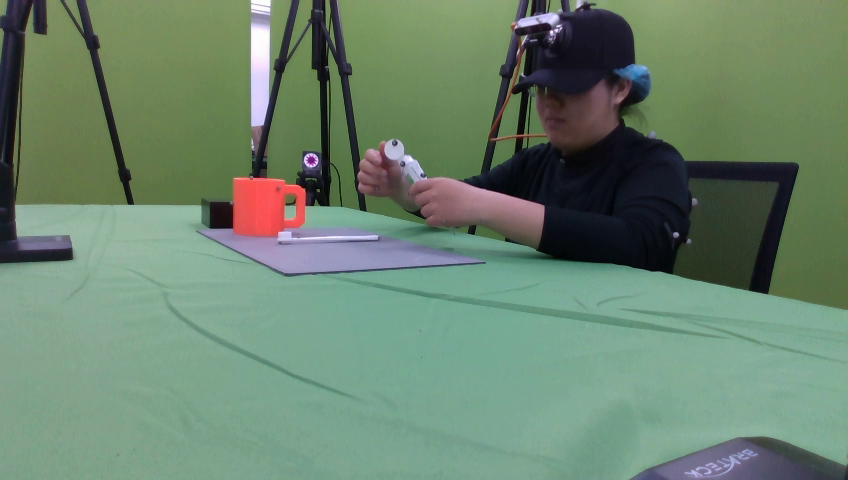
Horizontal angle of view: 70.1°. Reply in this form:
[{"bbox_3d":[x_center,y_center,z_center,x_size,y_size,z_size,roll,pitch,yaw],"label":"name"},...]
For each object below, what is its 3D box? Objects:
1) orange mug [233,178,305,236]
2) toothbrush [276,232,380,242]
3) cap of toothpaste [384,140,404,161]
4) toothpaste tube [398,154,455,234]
[{"bbox_3d":[-0.273,-0.061,1.067,0.127,0.101,0.083,-5,10,-24],"label":"orange mug"},{"bbox_3d":[-0.153,-0.005,0.990,0.183,0.016,0.014,0,-4,-33],"label":"toothbrush"},{"bbox_3d":[-0.050,-0.153,1.033,0.037,0.037,0.011,5,11,19],"label":"cap of toothpaste"},{"bbox_3d":[0.007,-0.083,1.025,0.034,0.164,0.055,-34,-16,-1],"label":"toothpaste tube"}]
